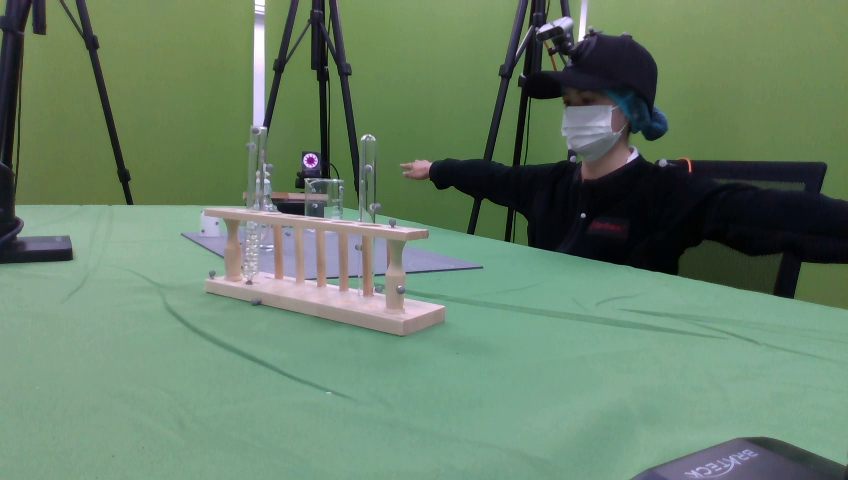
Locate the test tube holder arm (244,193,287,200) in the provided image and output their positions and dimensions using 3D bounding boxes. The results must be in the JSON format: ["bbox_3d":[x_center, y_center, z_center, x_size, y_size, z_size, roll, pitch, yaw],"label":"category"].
[{"bbox_3d":[-0.322,-0.089,1.232,0.088,0.015,0.010,-2,3,-32],"label":"test tube holder arm"}]

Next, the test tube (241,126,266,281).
[{"bbox_3d":[-0.164,-0.034,0.582,0.017,0.150,0.017,6,9,-1],"label":"test tube"}]

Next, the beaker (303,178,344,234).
[{"bbox_3d":[-0.189,-0.063,1.119,0.073,0.100,0.084,6,9,28],"label":"beaker"}]

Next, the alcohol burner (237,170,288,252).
[{"bbox_3d":[-0.236,-0.042,0.882,0.078,0.119,0.078,2,9,0],"label":"alcohol burner"}]

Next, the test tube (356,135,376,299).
[{"bbox_3d":[-0.053,-0.019,0.550,0.017,0.150,0.017,2,9,0],"label":"test tube"}]

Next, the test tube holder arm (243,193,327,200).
[{"bbox_3d":[-0.287,-0.090,1.261,0.179,0.015,0.013,-2,3,-33],"label":"test tube holder arm"}]

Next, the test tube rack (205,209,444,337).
[{"bbox_3d":[-0.100,0.021,0.565,0.241,0.085,0.067,7,9,32],"label":"test tube rack"}]

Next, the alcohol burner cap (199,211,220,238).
[{"bbox_3d":[-0.356,-0.027,1.002,0.034,0.048,0.034,2,7,0],"label":"alcohol burner cap"}]
